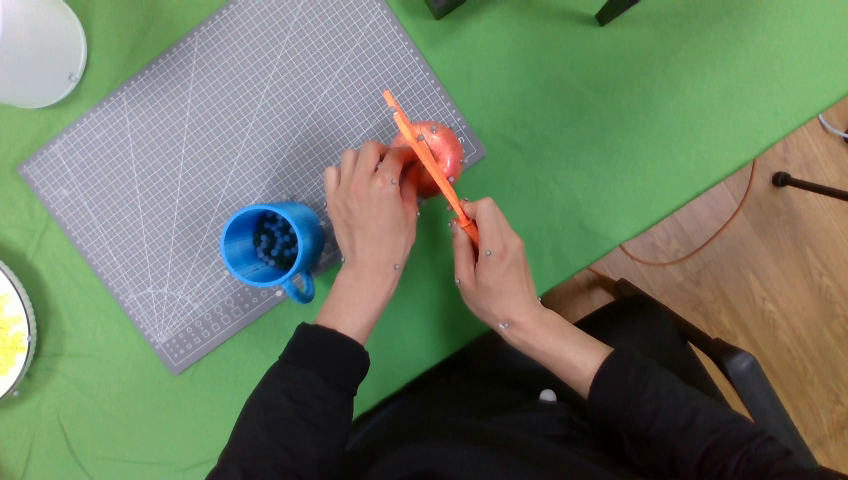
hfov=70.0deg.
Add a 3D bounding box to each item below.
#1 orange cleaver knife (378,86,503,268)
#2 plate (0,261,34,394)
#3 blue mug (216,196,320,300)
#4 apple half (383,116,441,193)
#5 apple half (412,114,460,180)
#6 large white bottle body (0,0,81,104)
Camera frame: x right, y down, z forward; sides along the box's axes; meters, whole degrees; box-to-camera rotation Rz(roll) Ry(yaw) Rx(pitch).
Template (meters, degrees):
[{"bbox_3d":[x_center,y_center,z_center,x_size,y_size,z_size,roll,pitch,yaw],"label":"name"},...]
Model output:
[{"bbox_3d":[0.018,-0.056,0.579,0.012,0.076,0.213,-32,125,8],"label":"orange cleaver knife"},{"bbox_3d":[-0.551,0.094,0.700,0.209,0.038,0.209,0,98,1],"label":"plate"},{"bbox_3d":[-0.153,0.010,0.645,0.082,0.105,0.117,-27,96,4],"label":"blue mug"},{"bbox_3d":[-0.015,-0.086,0.646,0.053,0.074,0.081,-26,100,9],"label":"apple half"},{"bbox_3d":[0.019,-0.104,0.640,0.033,0.081,0.081,-27,95,10],"label":"apple half"},{"bbox_3d":[-0.446,-0.207,0.586,0.130,0.184,0.131,0,96,2],"label":"large white bottle body"}]
